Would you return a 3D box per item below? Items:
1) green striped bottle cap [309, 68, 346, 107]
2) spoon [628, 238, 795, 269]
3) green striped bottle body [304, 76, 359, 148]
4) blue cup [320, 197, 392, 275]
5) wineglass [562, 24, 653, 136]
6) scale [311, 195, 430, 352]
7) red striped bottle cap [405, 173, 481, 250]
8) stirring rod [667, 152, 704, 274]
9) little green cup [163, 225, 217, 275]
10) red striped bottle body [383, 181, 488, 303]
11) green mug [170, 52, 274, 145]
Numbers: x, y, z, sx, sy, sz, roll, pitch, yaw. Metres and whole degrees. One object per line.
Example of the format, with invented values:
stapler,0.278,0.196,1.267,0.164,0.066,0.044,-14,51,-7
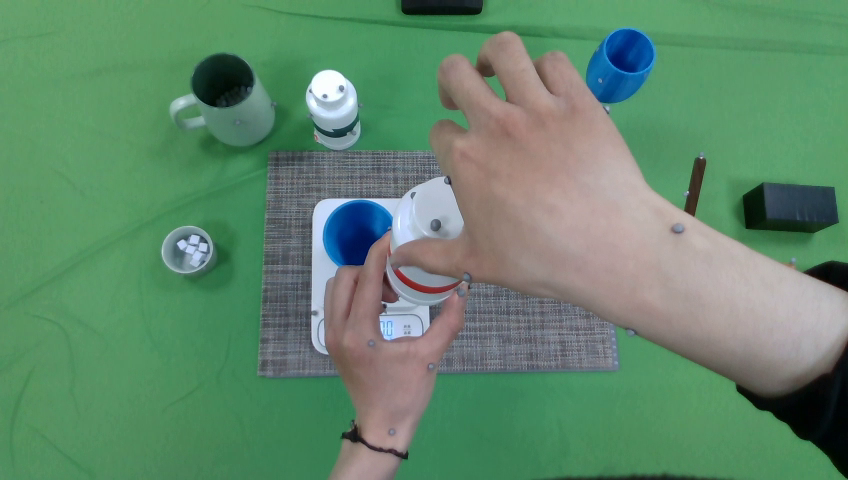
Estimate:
green striped bottle cap,-0.117,-0.186,0.735,0.044,0.020,0.044,1,74,-3
spoon,0.347,0.022,0.749,0.022,0.192,0.041,20,79,-43
green striped bottle body,-0.119,-0.171,0.786,0.063,0.120,0.063,1,75,-3
blue cup,-0.074,0.004,0.718,0.093,0.100,0.092,1,78,-3
wineglass,0.232,-0.201,0.786,0.074,0.173,0.073,1,75,-2
scale,-0.070,0.040,0.776,0.149,0.031,0.200,-2,76,-3
red striped bottle cap,0.012,-0.017,0.361,0.044,0.018,0.044,2,73,-7
stirring rod,0.327,-0.029,0.761,0.014,0.177,0.006,4,34,11
little green cup,-0.294,0.015,0.769,0.061,0.039,0.061,1,75,-4
red striped bottle body,0.006,0.000,0.412,0.063,0.120,0.062,2,71,-6
green mug,-0.264,-0.175,0.786,0.125,0.105,0.092,-22,78,-8
